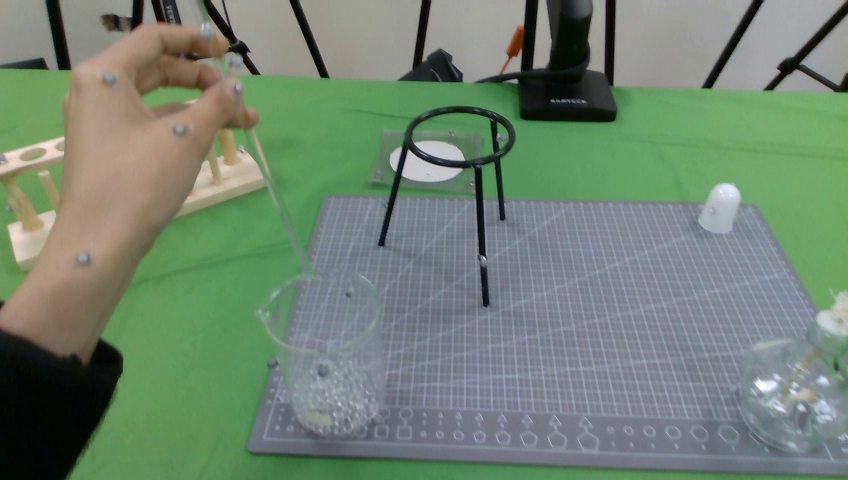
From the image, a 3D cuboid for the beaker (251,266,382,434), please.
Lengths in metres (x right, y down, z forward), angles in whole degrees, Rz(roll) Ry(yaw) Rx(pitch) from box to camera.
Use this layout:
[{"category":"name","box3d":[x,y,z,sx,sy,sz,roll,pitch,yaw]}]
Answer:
[{"category":"beaker","box3d":[-0.069,0.079,0.417,0.084,0.101,0.073,0,41,1]}]

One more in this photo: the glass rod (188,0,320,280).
[{"category":"glass rod","box3d":[-0.094,-0.052,0.346,0.008,0.202,0.008,-10,36,8]}]

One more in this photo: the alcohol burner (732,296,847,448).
[{"category":"alcohol burner","box3d":[0.252,0.083,0.400,0.078,0.120,0.077,0,39,0]}]

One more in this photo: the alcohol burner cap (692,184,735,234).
[{"category":"alcohol burner cap","box3d":[0.284,-0.033,0.591,0.034,0.048,0.033,0,41,0]}]

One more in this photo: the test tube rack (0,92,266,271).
[{"category":"test tube rack","box3d":[-0.290,-0.064,0.600,0.243,0.086,0.066,-24,46,-25]}]

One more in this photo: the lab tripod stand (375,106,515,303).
[{"category":"lab tripod stand","box3d":[0.024,-0.037,0.526,0.148,0.133,0.147,-1,42,1]}]

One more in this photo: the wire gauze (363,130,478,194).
[{"category":"wire gauze","box3d":[-0.001,-0.094,0.695,0.125,0.011,0.120,4,40,6]}]
